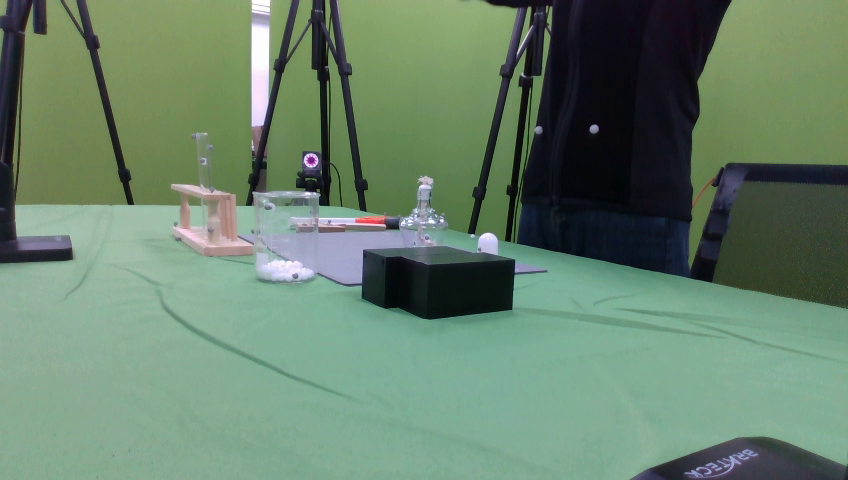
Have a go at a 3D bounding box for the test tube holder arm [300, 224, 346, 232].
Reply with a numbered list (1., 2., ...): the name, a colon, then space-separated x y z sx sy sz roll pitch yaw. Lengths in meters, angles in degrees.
1. test tube holder arm: -0.189 -0.022 1.136 0.088 0.015 0.010 -2 42 -35

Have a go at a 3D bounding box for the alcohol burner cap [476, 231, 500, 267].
1. alcohol burner cap: 0.088 0.012 0.830 0.034 0.048 0.034 2 6 0

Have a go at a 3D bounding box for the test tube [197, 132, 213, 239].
1. test tube: -0.305 -0.075 0.849 0.017 0.150 0.017 -1 10 0

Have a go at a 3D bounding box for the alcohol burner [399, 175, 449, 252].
1. alcohol burner: 0.000 -0.041 0.937 0.078 0.119 0.078 0 7 0

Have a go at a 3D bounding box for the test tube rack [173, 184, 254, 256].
1. test tube rack: -0.328 -0.036 0.927 0.067 0.085 0.241 -2 9 -32

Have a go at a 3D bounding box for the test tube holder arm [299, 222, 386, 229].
1. test tube holder arm: -0.154 -0.027 1.166 0.179 0.015 0.013 -2 43 -35

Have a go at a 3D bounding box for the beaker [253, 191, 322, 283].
1. beaker: -0.158 -0.005 0.686 0.083 0.100 0.074 5 7 23

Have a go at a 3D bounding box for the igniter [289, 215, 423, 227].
1. igniter: -0.133 -0.038 1.232 0.278 0.025 0.057 -1 -2 -25
